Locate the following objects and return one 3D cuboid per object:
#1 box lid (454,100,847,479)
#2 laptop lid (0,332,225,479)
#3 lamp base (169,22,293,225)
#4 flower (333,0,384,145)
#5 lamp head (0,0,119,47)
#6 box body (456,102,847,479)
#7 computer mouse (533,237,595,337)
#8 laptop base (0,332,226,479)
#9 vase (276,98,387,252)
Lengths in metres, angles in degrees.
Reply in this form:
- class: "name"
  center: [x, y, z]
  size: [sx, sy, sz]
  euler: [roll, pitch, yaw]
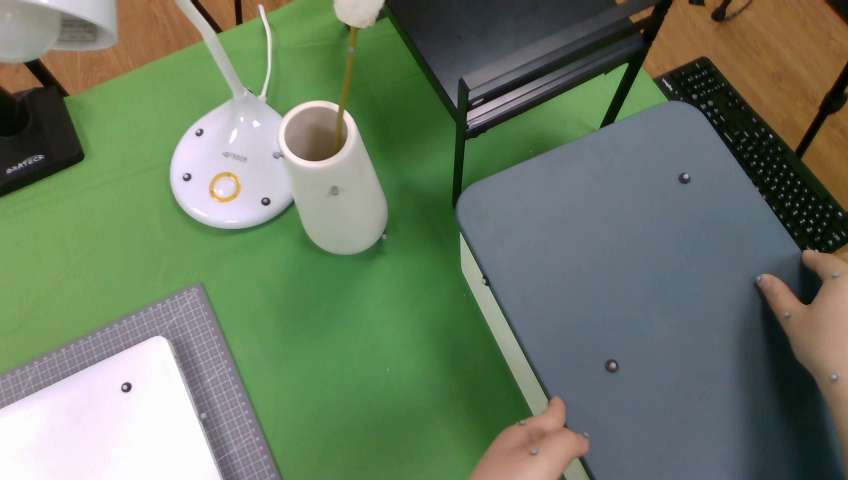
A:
- class: "box lid"
  center: [0.210, 0.058, 0.515]
  size: [0.263, 0.015, 0.368]
  euler: [-23, 71, -9]
- class: "laptop lid"
  center: [-0.377, 0.266, 0.583]
  size: [0.357, 0.013, 0.240]
  euler: [-25, 74, -9]
- class: "lamp base"
  center: [-0.223, -0.131, 0.658]
  size: [0.160, 0.181, 0.178]
  euler: [6, 67, 2]
- class: "flower"
  center: [-0.077, -0.099, 0.547]
  size: [0.038, 0.364, 0.043]
  euler: [-13, 59, -23]
- class: "lamp head"
  center: [-0.239, -0.185, 0.359]
  size: [0.112, 0.112, 0.122]
  euler: [2, 87, 1]
- class: "box body"
  center: [0.213, 0.087, 0.585]
  size: [0.254, 0.161, 0.361]
  euler: [-24, 71, -8]
- class: "computer mouse"
  center: [0.154, 0.048, 0.660]
  size: [0.063, 0.041, 0.116]
  euler: [7, 63, 7]
- class: "laptop base"
  center: [-0.379, 0.268, 0.594]
  size: [0.354, 0.023, 0.234]
  euler: [-26, 75, -10]
- class: "vase"
  center: [-0.094, -0.061, 0.621]
  size: [0.098, 0.201, 0.097]
  euler: [-1, 68, 2]
